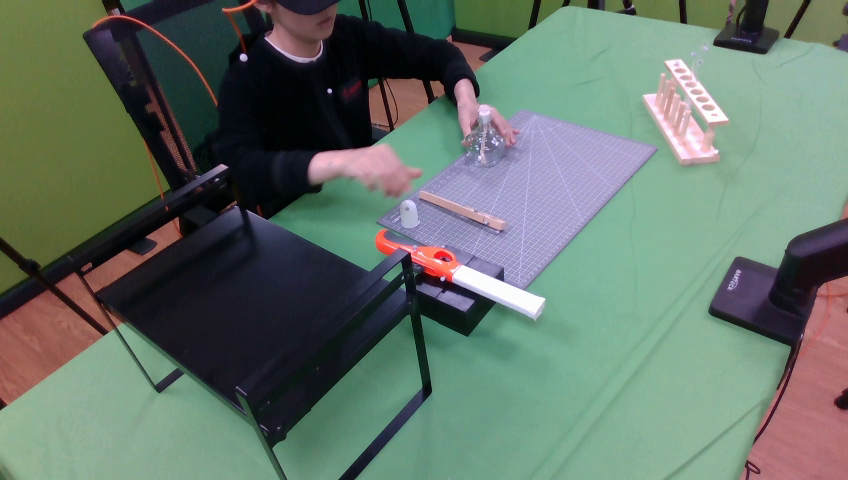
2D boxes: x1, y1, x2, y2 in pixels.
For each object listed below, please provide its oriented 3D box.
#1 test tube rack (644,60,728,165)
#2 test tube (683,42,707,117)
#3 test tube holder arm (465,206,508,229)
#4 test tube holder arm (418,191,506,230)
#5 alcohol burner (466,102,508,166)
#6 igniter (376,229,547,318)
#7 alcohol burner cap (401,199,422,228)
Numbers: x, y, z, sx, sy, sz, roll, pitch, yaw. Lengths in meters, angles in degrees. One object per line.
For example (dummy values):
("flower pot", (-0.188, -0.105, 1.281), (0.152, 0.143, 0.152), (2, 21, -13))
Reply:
("test tube rack", (0.485, -0.246, 1.140), (0.067, 0.085, 0.241), (-5, 41, 4))
("test tube", (0.497, -0.292, 1.114), (0.017, 0.151, 0.017), (-4, 44, 4))
("test tube holder arm", (0.100, -0.038, 1.005), (0.087, 0.015, 0.010), (23, 14, 32))
("test tube holder arm", (0.061, -0.052, 1.024), (0.177, 0.015, 0.013), (23, 14, 31))
("alcohol burner", (0.115, -0.198, 1.113), (0.078, 0.119, 0.077), (-5, 40, 5))
("igniter", (0.040, 0.041, 0.845), (0.274, 0.025, 0.057), (23, 47, 27))
("alcohol burner cap", (-0.022, -0.047, 1.014), (0.034, 0.048, 0.033), (-4, 43, 4))
